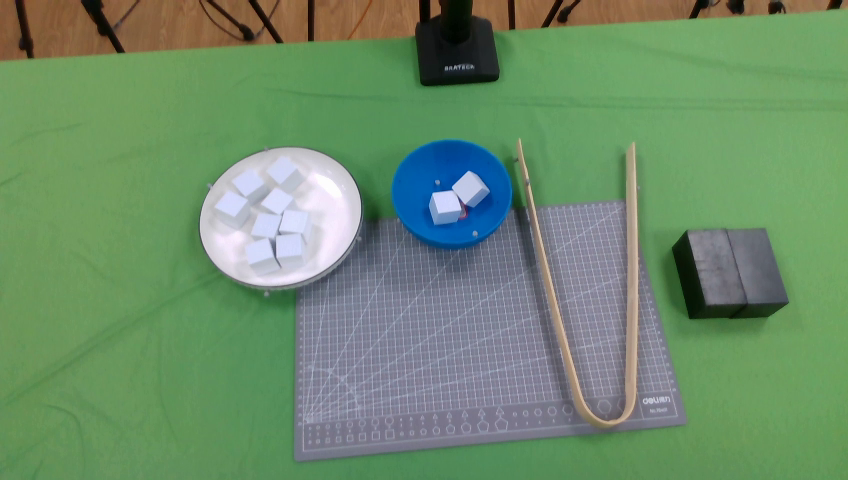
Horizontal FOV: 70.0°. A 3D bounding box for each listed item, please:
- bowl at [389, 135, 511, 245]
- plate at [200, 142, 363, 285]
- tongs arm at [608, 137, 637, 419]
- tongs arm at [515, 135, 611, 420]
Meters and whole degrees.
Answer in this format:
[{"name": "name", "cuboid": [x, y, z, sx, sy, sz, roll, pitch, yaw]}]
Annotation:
[{"name": "bowl", "cuboid": [0.032, -0.051, 0.777, 0.151, 0.077, 0.150, 0, 64, 0]}, {"name": "plate", "cuboid": [-0.182, -0.034, 0.791, 0.208, 0.039, 0.206, 0, 64, 1]}, {"name": "tongs arm", "cuboid": [0.253, 0.032, 0.766, 0.028, 0.028, 0.385, 11, 65, -3]}, {"name": "tongs arm", "cuboid": [0.168, 0.031, 0.763, 0.051, 0.027, 0.381, -3, 65, -6]}]
